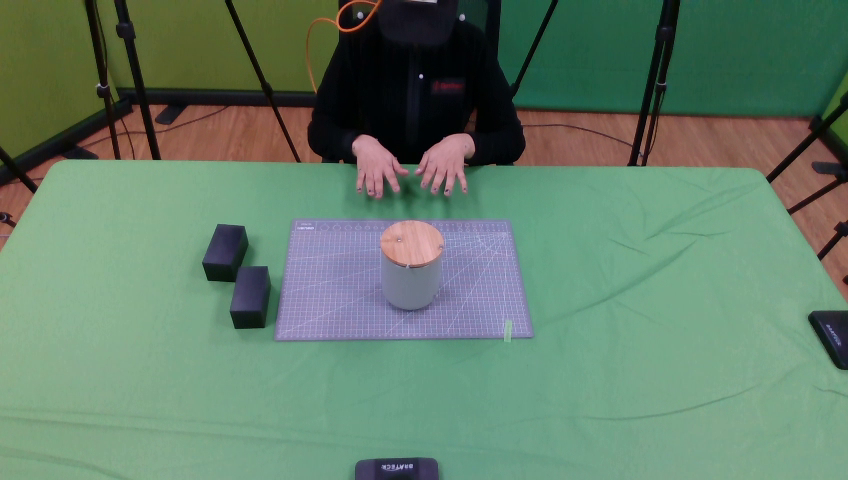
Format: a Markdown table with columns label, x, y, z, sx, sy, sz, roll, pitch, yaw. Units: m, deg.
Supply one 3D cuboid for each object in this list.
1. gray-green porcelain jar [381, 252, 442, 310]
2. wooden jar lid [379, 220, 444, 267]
| label | x | y | z | sx | sy | sz | roll | pitch | yaw |
| --- | --- | --- | --- | --- | --- | --- | --- | --- | --- |
| gray-green porcelain jar | -0.023 | 0.053 | 1.068 | 0.106 | 0.127 | 0.105 | 2 | 46 | -2 |
| wooden jar lid | -0.021 | 0.009 | 1.021 | 0.108 | 0.021 | 0.107 | 3 | 45 | -2 |
